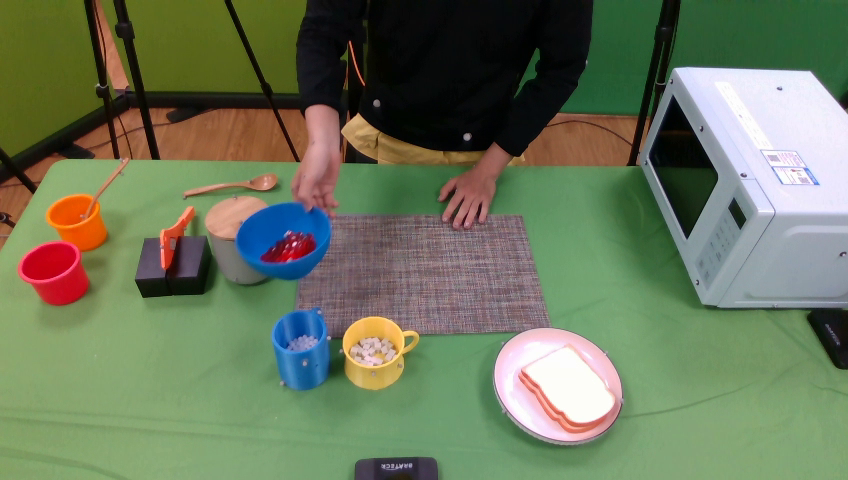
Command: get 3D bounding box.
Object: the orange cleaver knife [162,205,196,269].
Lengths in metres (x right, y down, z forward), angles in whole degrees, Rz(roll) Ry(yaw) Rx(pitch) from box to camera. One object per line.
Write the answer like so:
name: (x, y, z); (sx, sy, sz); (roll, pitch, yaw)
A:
orange cleaver knife: (-0.454, -0.010, 1.129); (0.012, 0.077, 0.210); (-1, 20, -5)

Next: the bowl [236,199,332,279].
bowl: (-0.219, 0.010, 0.983); (0.151, 0.077, 0.150); (-2, 44, 2)

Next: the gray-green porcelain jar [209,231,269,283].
gray-green porcelain jar: (-0.323, 0.007, 1.092); (0.106, 0.127, 0.105); (2, 46, -2)

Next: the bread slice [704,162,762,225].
bread slice: (0.649, -0.103, 1.265); (0.105, 0.019, 0.131); (13, 71, 11)

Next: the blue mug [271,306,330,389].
blue mug: (-0.188, 0.163, 0.969); (0.082, 0.106, 0.116); (15, 47, 10)

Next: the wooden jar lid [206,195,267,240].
wooden jar lid: (-0.319, -0.036, 1.046); (0.108, 0.021, 0.107); (1, 44, 0)

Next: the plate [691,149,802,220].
plate: (0.652, -0.108, 1.237); (0.209, 0.038, 0.208); (-1, 46, 1)

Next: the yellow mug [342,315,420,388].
yellow mug: (-0.067, 0.177, 0.990); (0.131, 0.064, 0.099); (-16, 50, -19)

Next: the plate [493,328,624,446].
plate: (0.213, 0.236, 0.974); (0.208, 0.039, 0.206); (2, 46, -2)

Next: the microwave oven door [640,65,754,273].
microwave oven door: (0.523, -0.147, 1.193); (0.039, 0.245, 0.353); (0, 47, -3)

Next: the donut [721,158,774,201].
donut: (0.648, -0.122, 1.215); (0.099, 0.048, 0.098); (-3, 55, 5)

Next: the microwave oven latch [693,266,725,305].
microwave oven latch: (0.523, 0.081, 1.115); (0.030, 0.029, 0.078); (3, 46, 0)

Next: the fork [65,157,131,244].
fork: (-0.609, -0.074, 1.133); (0.207, 0.019, 0.028); (-52, 50, 10)

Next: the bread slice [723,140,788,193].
bread slice: (0.661, -0.147, 1.201); (0.107, 0.018, 0.133); (0, 53, 9)

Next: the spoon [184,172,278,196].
spoon: (-0.405, -0.116, 1.275); (0.194, 0.022, 0.041); (-8, 66, -12)

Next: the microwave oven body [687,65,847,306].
microwave oven body: (0.669, -0.111, 1.176); (0.326, 0.261, 0.439); (0, 46, -3)
